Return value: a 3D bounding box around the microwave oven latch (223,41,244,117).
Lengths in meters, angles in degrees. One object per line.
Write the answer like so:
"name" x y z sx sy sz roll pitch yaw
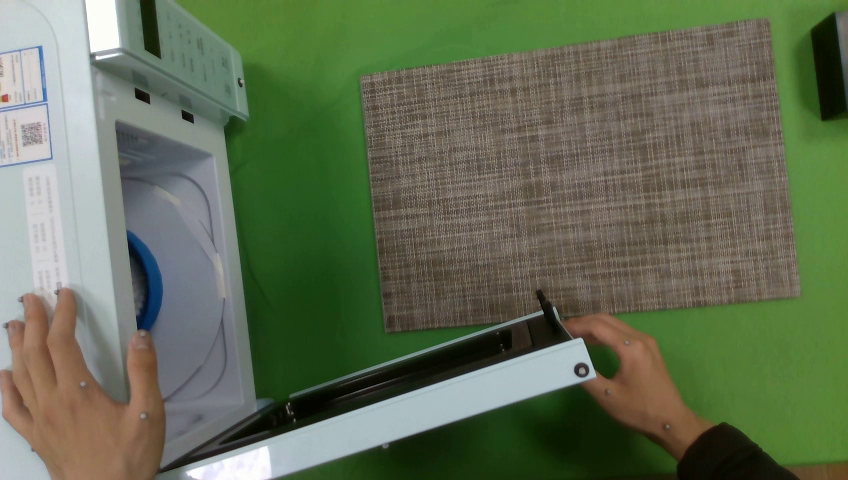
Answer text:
"microwave oven latch" -0.227 -0.183 0.690 0.030 0.029 0.079 -8 89 7

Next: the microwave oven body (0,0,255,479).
"microwave oven body" -0.361 0.011 0.609 0.326 0.260 0.441 -8 89 7

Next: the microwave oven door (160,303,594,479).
"microwave oven door" -0.031 0.142 0.561 0.356 0.244 0.039 -20 86 7
